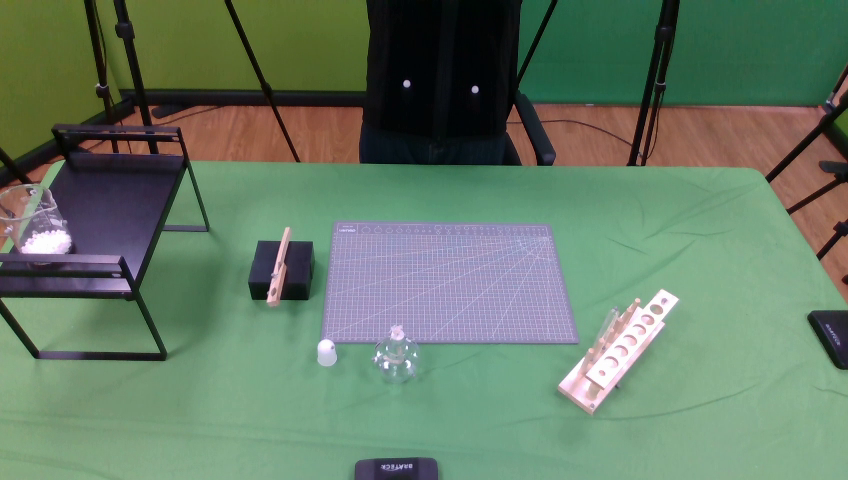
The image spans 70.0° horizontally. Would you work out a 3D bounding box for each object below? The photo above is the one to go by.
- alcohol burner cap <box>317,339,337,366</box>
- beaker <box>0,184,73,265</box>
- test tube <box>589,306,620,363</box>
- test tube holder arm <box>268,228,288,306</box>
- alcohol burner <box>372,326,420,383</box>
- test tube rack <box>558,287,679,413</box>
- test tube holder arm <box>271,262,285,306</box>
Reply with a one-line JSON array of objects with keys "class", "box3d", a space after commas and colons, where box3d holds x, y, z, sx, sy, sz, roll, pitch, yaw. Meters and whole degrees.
[{"class": "alcohol burner cap", "box3d": [-0.161, 0.182, 0.996, 0.034, 0.048, 0.033, 1, 47, -1]}, {"class": "beaker", "box3d": [-0.556, -0.019, 0.871, 0.084, 0.101, 0.073, 3, 46, -2]}, {"class": "test tube", "box3d": [0.284, 0.152, 0.961, 0.017, 0.151, 0.017, 2, 49, -2]}, {"class": "test tube holder arm", "box3d": [-0.258, 0.043, 1.071, 0.013, 0.015, 0.177, -6, 45, 1]}, {"class": "alcohol burner", "box3d": [-0.045, 0.174, 0.961, 0.078, 0.120, 0.077, 1, 47, -1]}, {"class": "test tube rack", "box3d": [0.326, 0.170, 1.009, 0.066, 0.085, 0.242, 36, 54, 27]}, {"class": "test tube holder arm", "box3d": [-0.250, 0.075, 1.040, 0.010, 0.015, 0.087, -5, 46, 2]}]
